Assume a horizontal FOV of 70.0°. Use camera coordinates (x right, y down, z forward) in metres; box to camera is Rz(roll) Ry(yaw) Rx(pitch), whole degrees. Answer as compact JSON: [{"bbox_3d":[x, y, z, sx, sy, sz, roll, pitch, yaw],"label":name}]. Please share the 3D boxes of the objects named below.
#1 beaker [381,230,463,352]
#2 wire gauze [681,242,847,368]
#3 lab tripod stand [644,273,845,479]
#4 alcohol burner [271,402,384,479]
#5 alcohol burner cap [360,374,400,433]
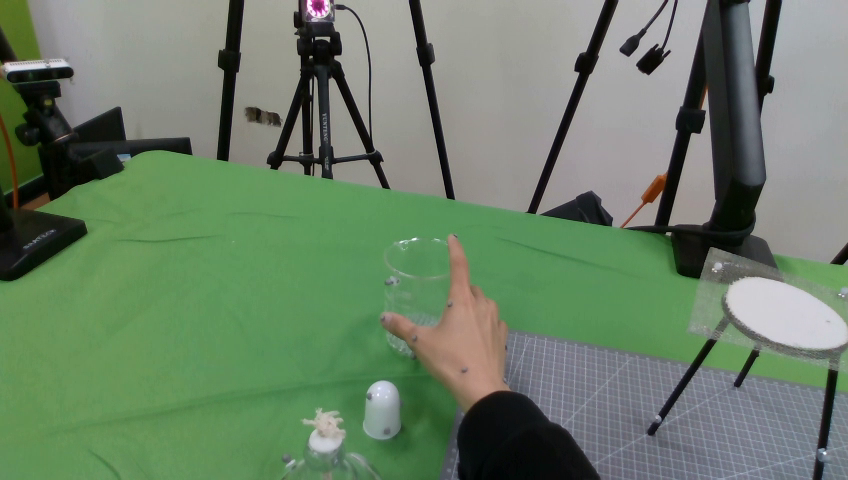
[{"bbox_3d":[-0.007,0.050,0.589,0.074,0.101,0.083,-16,36,-29],"label":"beaker"},{"bbox_3d":[0.266,0.048,0.456,0.121,0.011,0.125,19,34,21],"label":"wire gauze"},{"bbox_3d":[0.268,0.106,0.489,0.148,0.132,0.147,5,32,-2],"label":"lab tripod stand"},{"bbox_3d":[-0.065,0.154,0.398,0.078,0.120,0.077,1,31,0],"label":"alcohol burner"},{"bbox_3d":[-0.036,0.134,0.504,0.034,0.048,0.033,2,32,-1],"label":"alcohol burner cap"}]
